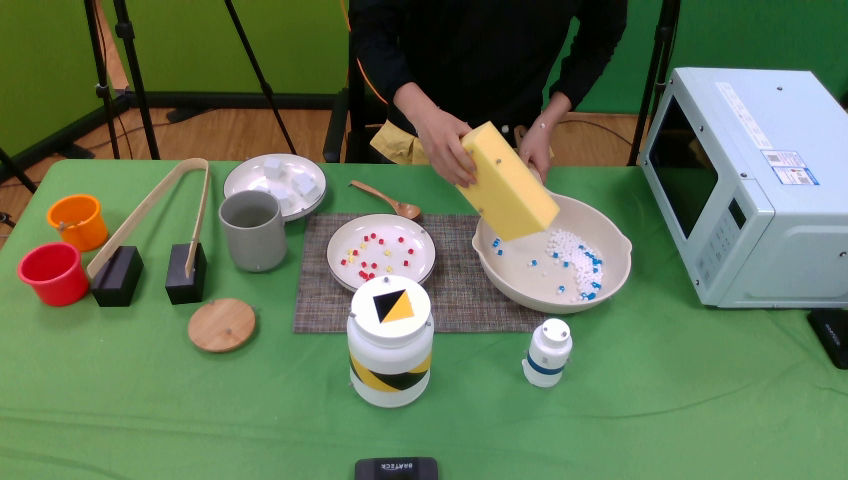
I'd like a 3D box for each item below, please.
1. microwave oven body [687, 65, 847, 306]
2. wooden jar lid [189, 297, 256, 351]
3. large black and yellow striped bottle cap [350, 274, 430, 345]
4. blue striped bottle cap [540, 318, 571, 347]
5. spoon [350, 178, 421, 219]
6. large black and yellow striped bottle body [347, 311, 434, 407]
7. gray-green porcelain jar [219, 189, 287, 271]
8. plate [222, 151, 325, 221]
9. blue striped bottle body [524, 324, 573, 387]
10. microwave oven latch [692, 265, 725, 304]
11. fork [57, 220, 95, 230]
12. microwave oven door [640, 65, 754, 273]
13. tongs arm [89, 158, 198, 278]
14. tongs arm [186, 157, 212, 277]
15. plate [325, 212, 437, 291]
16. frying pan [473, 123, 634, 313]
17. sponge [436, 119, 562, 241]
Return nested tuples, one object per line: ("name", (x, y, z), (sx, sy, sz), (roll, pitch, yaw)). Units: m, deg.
("microwave oven body", (0.669, -0.111, 1.176), (0.326, 0.261, 0.439), (0, 46, -3))
("wooden jar lid", (-0.342, 0.145, 1.033), (0.108, 0.021, 0.107), (2, 45, -2))
("large black and yellow striped bottle cap", (-0.048, 0.097, 0.868), (0.115, 0.019, 0.114), (3, 48, -3))
("blue striped bottle cap", (0.203, 0.142, 0.933), (0.044, 0.021, 0.044), (3, 49, -3))
("spoon", (-0.084, -0.093, 1.272), (0.193, 0.022, 0.041), (31, 69, 25))
("large black and yellow striped bottle body", (-0.052, 0.157, 0.929), (0.131, 0.185, 0.130), (2, 47, -2))
("gray-green porcelain jar", (-0.310, -0.014, 1.113), (0.106, 0.127, 0.105), (2, 46, -2))
("plate", (-0.310, -0.106, 1.262), (0.208, 0.039, 0.206), (2, 47, -2))
("blue striped bottle body", (0.200, 0.178, 0.970), (0.063, 0.121, 0.062), (2, 46, -2))
("microwave oven latch", (0.522, 0.081, 1.116), (0.030, 0.029, 0.078), (1, 46, -2))
("fork", (-0.624, -0.027, 1.087), (0.028, 0.207, 0.018), (-3, 92, -17))
("microwave oven door", (0.523, -0.147, 1.193), (0.039, 0.245, 0.353), (0, 47, -3))
("tongs arm", (-0.529, -0.057, 1.164), (0.028, 0.028, 0.385), (1, 36, 8))
("tongs arm", (-0.445, -0.058, 1.168), (0.051, 0.026, 0.382), (-5, 37, -6))
("plate", (-0.080, 0.030, 1.143), (0.209, 0.038, 0.208), (3, 46, -3))
("frying pan", (0.235, -0.061, 1.208), (0.307, 0.103, 0.484), (1, 55, -6))
("sponge", (0.133, -0.101, 1.081), (0.207, 0.118, 0.061), (48, 59, -14))
